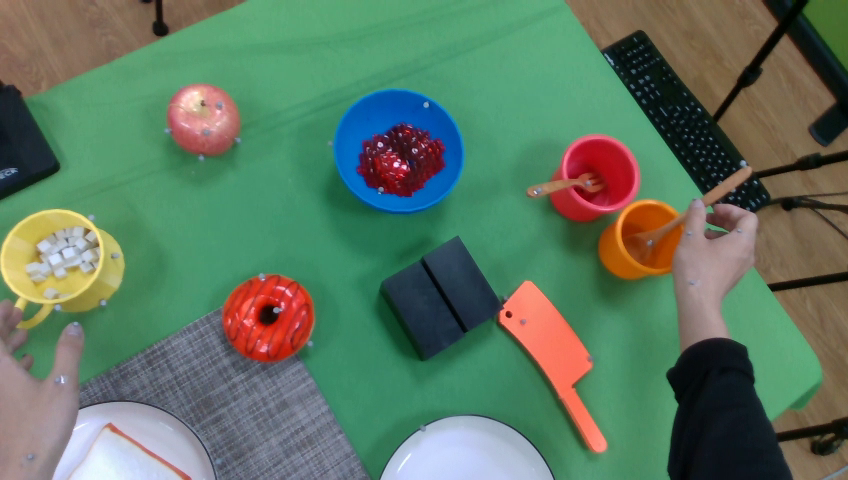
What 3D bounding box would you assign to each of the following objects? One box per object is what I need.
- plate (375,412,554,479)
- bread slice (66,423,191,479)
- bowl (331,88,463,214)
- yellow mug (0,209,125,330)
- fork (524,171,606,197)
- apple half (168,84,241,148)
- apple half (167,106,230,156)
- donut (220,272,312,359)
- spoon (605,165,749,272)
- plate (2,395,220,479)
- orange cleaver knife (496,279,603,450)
[{"bbox_3d":[0.043,0.294,0.659,0.209,0.038,0.208,2,76,-8],"label":"plate"},{"bbox_3d":[-0.317,0.269,0.608,0.105,0.019,0.131,32,73,1],"label":"bread slice"},{"bbox_3d":[-0.034,-0.094,0.722,0.152,0.077,0.150,2,76,-8],"label":"bowl"},{"bbox_3d":[-0.390,0.037,0.641,0.100,0.064,0.130,27,74,-1],"label":"yellow mug"},{"bbox_3d":[0.169,-0.065,0.711,0.208,0.018,0.028,-13,74,-54],"label":"fork"},{"bbox_3d":[-0.248,-0.148,0.705,0.081,0.075,0.053,25,68,2],"label":"apple half"},{"bbox_3d":[-0.262,-0.114,0.692,0.081,0.081,0.032,25,69,-1],"label":"apple half"},{"bbox_3d":[-0.174,0.083,0.670,0.099,0.048,0.098,2,76,-9],"label":"donut"},{"bbox_3d":[0.298,-0.023,0.720,0.041,0.194,0.022,55,31,9],"label":"spoon"},{"bbox_3d":[-0.310,0.263,0.609,0.208,0.039,0.206,2,76,-8],"label":"plate"},{"bbox_3d":[0.162,0.146,0.724,0.077,0.012,0.210,-29,81,-21],"label":"orange cleaver knife"}]
